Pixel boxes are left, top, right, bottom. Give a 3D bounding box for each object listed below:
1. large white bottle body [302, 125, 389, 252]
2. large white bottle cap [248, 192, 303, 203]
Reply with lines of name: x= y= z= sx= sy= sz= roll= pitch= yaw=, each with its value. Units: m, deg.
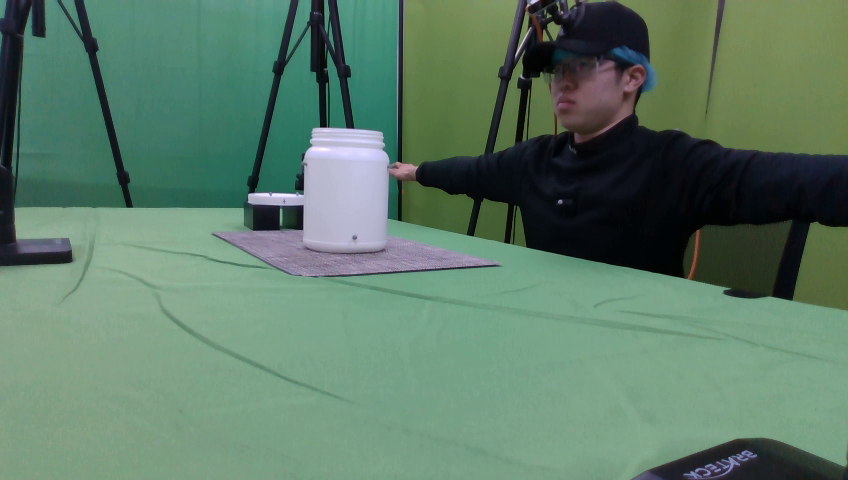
large white bottle body: x=-0.120 y=-0.080 z=0.936 sx=0.131 sy=0.184 sz=0.130 roll=2 pitch=7 yaw=0
large white bottle cap: x=-0.294 y=-0.084 z=1.213 sx=0.115 sy=0.018 sz=0.115 roll=2 pitch=7 yaw=0
